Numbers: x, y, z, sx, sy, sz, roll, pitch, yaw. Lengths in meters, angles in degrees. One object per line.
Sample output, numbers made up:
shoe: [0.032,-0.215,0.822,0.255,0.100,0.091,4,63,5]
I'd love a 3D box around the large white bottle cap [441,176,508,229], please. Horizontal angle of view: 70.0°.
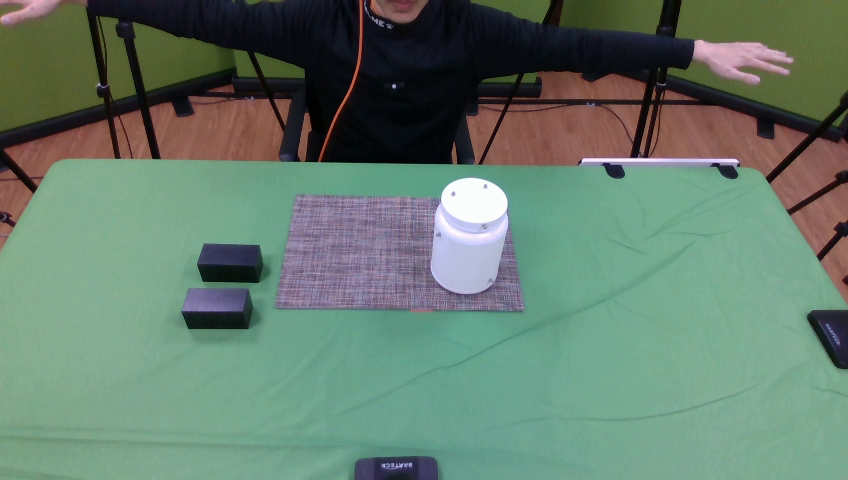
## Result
large white bottle cap: [0.086,-0.065,1.030,0.115,0.018,0.114,2,47,-2]

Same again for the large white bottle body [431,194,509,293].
large white bottle body: [0.081,-0.007,1.091,0.131,0.185,0.130,2,47,-2]
